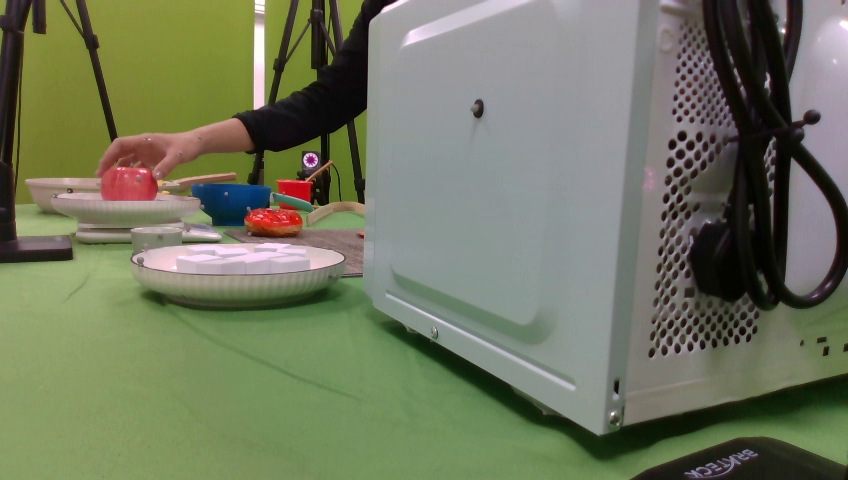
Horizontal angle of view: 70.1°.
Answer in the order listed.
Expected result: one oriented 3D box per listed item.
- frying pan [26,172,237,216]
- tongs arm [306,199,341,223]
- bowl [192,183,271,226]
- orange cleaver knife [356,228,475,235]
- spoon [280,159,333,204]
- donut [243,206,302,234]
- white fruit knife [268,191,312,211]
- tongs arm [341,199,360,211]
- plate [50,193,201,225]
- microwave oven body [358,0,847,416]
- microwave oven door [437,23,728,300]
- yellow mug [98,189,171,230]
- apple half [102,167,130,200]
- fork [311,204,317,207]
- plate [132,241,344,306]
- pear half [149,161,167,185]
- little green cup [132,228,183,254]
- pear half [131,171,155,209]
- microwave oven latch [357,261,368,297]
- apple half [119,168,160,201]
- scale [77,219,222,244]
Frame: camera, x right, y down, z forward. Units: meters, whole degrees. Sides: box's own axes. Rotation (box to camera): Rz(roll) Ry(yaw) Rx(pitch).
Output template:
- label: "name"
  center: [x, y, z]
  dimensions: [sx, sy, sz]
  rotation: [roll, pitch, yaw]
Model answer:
- label: "frying pan"
  center: [-0.624, -0.118, 1.387]
  dimensions: [0.305, 0.102, 0.490]
  rotation: [8, 17, 32]
- label: "tongs arm"
  center: [-0.234, -0.071, 1.414]
  dimensions: [0.028, 0.028, 0.387]
  rotation: [-4, 7, 1]
- label: "bowl"
  center: [-0.382, -0.070, 1.202]
  dimensions: [0.151, 0.077, 0.151]
  rotation: [3, 7, 0]
- label: "orange cleaver knife"
  center: [-0.017, -0.015, 1.080]
  dimensions: [0.211, 0.012, 0.077]
  rotation: [0, 1, -3]
- label: "spoon"
  center: [-0.316, -0.159, 1.640]
  dimensions: [0.194, 0.022, 0.041]
  rotation: [-49, 32, -20]
- label: "donut"
  center: [-0.261, -0.032, 1.042]
  dimensions: [0.099, 0.048, 0.099]
  rotation: [3, 8, 0]
- label: "white fruit knife"
  center: [-0.364, -0.105, 1.464]
  dimensions: [0.208, 0.027, 0.016]
  rotation: [15, 0, -34]
- label: "tongs arm"
  center: [-0.148, -0.070, 1.429]
  dimensions: [0.051, 0.026, 0.383]
  rotation: [-2, 8, -15]
- label: "plate"
  center: [-0.460, -0.050, 0.945]
  dimensions: [0.209, 0.038, 0.209]
  rotation: [2, 7, 0]
- label: "microwave oven body"
  center: [0.211, -0.047, 0.474]
  dimensions: [0.444, 0.260, 0.324]
  rotation: [-1, 7, -28]
- label: "microwave oven door"
  center: [0.180, -0.073, 0.621]
  dimensions: [0.358, 0.243, 0.039]
  rotation: [-2, 8, -29]
- label: "yellow mug"
  center: [-0.519, -0.055, 1.080]
  dimensions: [0.099, 0.064, 0.131]
  rotation: [7, 10, 26]
- label: "apple half"
  center: [-0.471, -0.077, 0.949]
  dimensions: [0.053, 0.074, 0.081]
  rotation: [1, 10, 15]
- label: "fork"
  center: [-0.356, -0.105, 1.526]
  dimensions: [0.208, 0.018, 0.028]
  rotation: [16, -5, -41]
- label: "plate"
  center: [-0.187, 0.033, 0.625]
  dimensions: [0.208, 0.039, 0.207]
  rotation: [2, 7, 0]
- label: "pear half"
  center: [-0.602, -0.120, 1.354]
  dimensions: [0.056, 0.110, 0.076]
  rotation: [4, 11, 6]
- label: "little green cup"
  center: [-0.342, 0.006, 0.779]
  dimensions: [0.061, 0.038, 0.061]
  rotation: [2, 8, 0]
- label: "pear half"
  center: [-0.638, -0.113, 1.361]
  dimensions: [0.031, 0.088, 0.070]
  rotation: [5, 10, 4]
- label: "microwave oven latch"
  center: [-0.019, 0.033, 0.530]
  dimensions: [0.079, 0.029, 0.030]
  rotation: [-1, 7, -26]
- label: "apple half"
  center: [-0.433, -0.076, 0.940]
  dimensions: [0.033, 0.081, 0.081]
  rotation: [0, 7, 16]
- label: "scale"
  center: [-0.434, -0.018, 0.963]
  dimensions: [0.202, 0.031, 0.148]
  rotation: [-1, 9, -27]
